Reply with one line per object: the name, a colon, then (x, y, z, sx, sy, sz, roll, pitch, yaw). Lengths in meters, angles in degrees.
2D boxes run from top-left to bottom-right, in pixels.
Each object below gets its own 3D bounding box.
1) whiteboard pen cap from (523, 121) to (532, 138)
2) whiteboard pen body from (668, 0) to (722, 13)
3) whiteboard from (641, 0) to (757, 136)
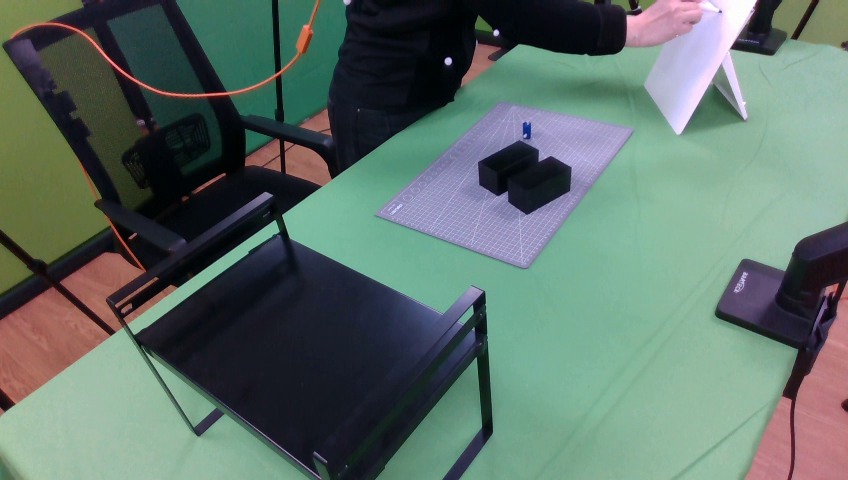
whiteboard pen cap: (0.204, -0.216, 1.185, 0.018, 0.033, 0.018, -6, 41, 6)
whiteboard pen body: (0.460, -0.417, 1.056, 0.141, 0.017, 0.017, 12, 40, -10)
whiteboard: (0.576, -0.367, 1.147, 0.144, 0.306, 0.216, 9, 39, -9)
